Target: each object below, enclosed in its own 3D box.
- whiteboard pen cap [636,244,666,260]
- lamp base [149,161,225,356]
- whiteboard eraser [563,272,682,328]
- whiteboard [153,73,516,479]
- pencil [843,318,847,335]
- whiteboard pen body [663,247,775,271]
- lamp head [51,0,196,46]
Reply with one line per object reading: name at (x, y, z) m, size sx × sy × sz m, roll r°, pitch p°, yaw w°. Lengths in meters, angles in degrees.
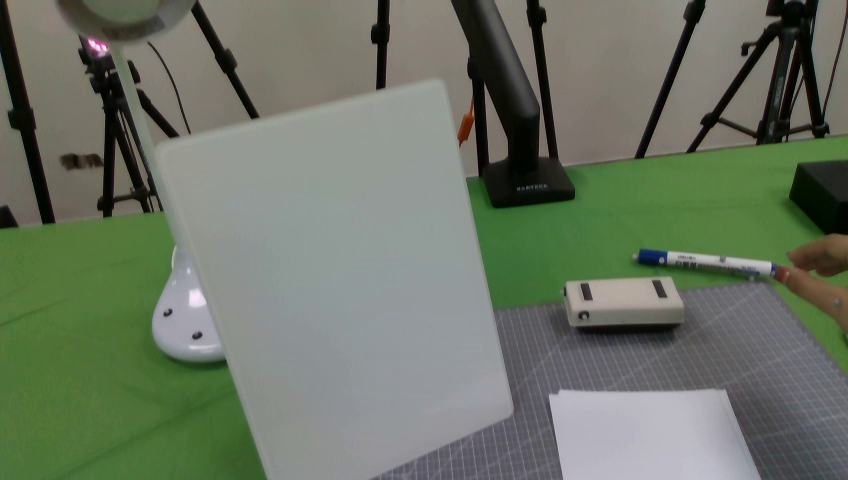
whiteboard pen cap at (0.270, 0.015, 0.719) m, size 0.033 × 0.018 × 0.018 m, roll 6°, pitch 35°, yaw 22°
lamp base at (-0.247, 0.008, 0.664) m, size 0.177 × 0.182 × 0.160 m, roll 18°, pitch 40°, yaw 35°
whiteboard eraser at (0.204, 0.063, 0.631) m, size 0.112 × 0.042 × 0.055 m, roll -3°, pitch 35°, yaw 5°
whiteboard at (-0.071, 0.034, 0.537) m, size 0.217 × 0.307 × 0.143 m, roll -18°, pitch 16°, yaw -16°
pencil at (0.406, 0.134, 0.524) m, size 0.012 × 0.012 × 0.192 m, roll 0°, pitch 34°, yaw 10°
whiteboard pen body at (0.325, 0.020, 0.698) m, size 0.140 × 0.017 × 0.017 m, roll 7°, pitch 36°, yaw 22°
lamp head at (-0.251, -0.227, 0.467) m, size 0.112 × 0.113 × 0.122 m, roll -30°, pitch 65°, yaw -31°
